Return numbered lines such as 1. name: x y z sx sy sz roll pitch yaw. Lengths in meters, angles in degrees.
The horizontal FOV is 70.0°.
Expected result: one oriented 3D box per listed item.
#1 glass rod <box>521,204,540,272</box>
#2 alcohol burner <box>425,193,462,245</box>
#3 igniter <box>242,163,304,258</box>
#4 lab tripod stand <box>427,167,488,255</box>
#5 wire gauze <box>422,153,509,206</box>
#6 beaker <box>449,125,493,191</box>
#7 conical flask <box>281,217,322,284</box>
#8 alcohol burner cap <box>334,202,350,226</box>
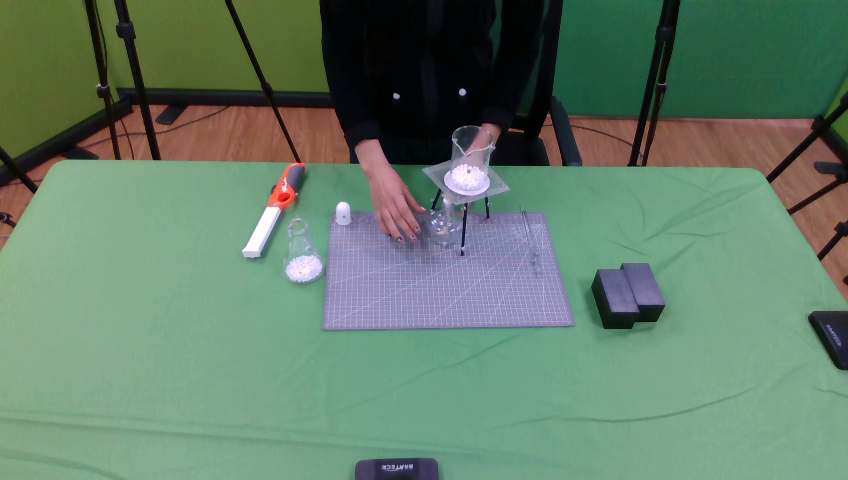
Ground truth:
1. glass rod: 0.215 -0.008 1.230 0.008 0.008 0.198 0 43 -3
2. alcohol burner: 0.042 -0.047 1.181 0.078 0.119 0.077 3 47 -3
3. igniter: -0.305 -0.069 1.239 0.057 0.025 0.275 2 45 12
4. lab tripod stand: 0.076 -0.068 1.191 0.148 0.132 0.147 3 44 -2
5. wire gauze: 0.078 -0.114 1.144 0.125 0.011 0.120 -21 49 -20
6. beaker: 0.083 -0.146 1.108 0.074 0.101 0.083 15 47 11
7. conical flask: -0.225 0.016 1.097 0.075 0.122 0.075 3 46 -2
8. alcohol burner cap: -0.166 -0.055 1.222 0.034 0.048 0.033 2 46 -2
